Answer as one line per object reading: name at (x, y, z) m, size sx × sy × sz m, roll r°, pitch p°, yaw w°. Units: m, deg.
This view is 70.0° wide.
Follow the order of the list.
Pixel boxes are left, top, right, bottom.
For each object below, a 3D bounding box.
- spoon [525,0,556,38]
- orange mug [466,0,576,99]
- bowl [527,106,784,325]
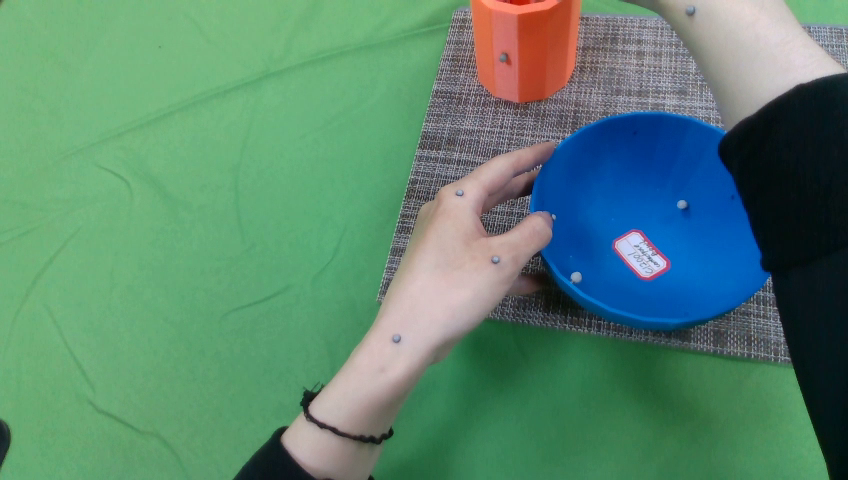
spoon at (0.086, -0.204, 0.422) m, size 0.021 × 0.195 × 0.041 m, roll -17°, pitch 76°, yaw 4°
orange mug at (0.086, -0.196, 0.498) m, size 0.083 × 0.101 × 0.125 m, roll 19°, pitch 72°, yaw 18°
bowl at (0.144, -0.005, 0.404) m, size 0.151 × 0.077 × 0.150 m, roll -3°, pitch 63°, yaw 7°
